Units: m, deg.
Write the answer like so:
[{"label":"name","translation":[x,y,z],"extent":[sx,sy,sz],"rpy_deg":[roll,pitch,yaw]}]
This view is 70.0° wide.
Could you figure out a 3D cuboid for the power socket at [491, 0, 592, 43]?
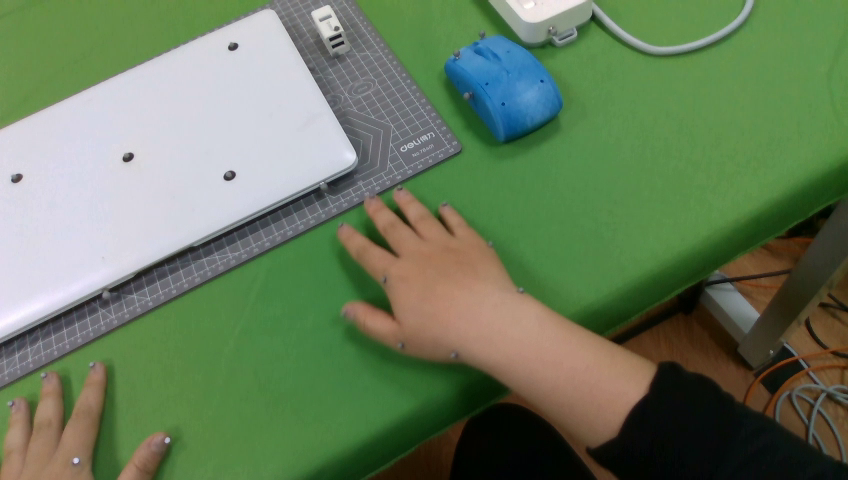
[{"label":"power socket","translation":[0.083,-0.275,0.595],"extent":[0.072,0.033,0.224],"rpy_deg":[-26,58,-4]}]

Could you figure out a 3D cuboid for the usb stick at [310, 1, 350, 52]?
[{"label":"usb stick","translation":[-0.094,-0.214,0.594],"extent":[0.021,0.027,0.058],"rpy_deg":[-27,57,-2]}]

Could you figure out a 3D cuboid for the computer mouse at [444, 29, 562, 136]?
[{"label":"computer mouse","translation":[0.064,-0.142,0.518],"extent":[0.063,0.041,0.116],"rpy_deg":[-29,54,-3]}]

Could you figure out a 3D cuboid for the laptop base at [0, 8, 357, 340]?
[{"label":"laptop base","translation":[-0.257,-0.070,0.548],"extent":[0.354,0.023,0.233],"rpy_deg":[-27,62,-6]}]

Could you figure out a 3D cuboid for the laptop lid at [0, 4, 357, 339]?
[{"label":"laptop lid","translation":[-0.258,-0.074,0.537],"extent":[0.357,0.013,0.239],"rpy_deg":[-26,61,-5]}]
